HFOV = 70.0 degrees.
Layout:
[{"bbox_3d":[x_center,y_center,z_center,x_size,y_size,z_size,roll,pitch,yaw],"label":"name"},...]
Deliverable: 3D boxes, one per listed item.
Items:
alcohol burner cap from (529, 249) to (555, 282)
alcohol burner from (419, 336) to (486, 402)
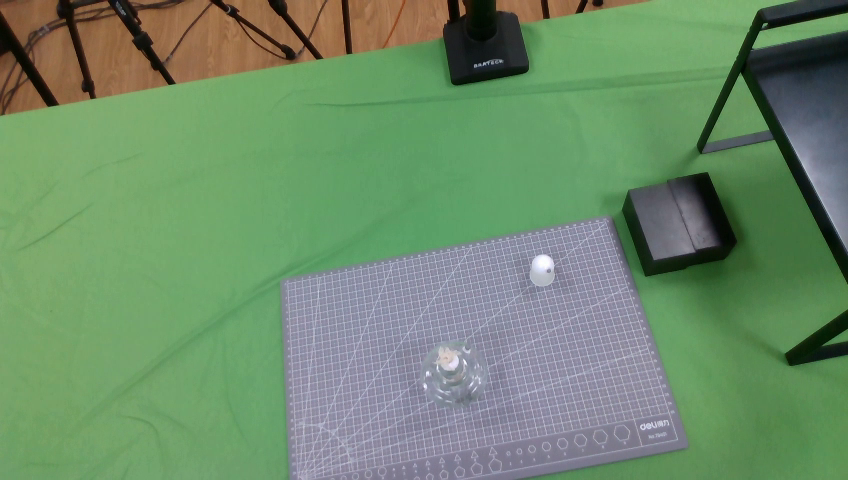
[{"bbox_3d":[0.148,0.029,0.756,0.034,0.048,0.033,-3,65,7],"label":"alcohol burner cap"},{"bbox_3d":[0.030,0.141,0.679,0.078,0.120,0.077,-3,66,7],"label":"alcohol burner"}]
